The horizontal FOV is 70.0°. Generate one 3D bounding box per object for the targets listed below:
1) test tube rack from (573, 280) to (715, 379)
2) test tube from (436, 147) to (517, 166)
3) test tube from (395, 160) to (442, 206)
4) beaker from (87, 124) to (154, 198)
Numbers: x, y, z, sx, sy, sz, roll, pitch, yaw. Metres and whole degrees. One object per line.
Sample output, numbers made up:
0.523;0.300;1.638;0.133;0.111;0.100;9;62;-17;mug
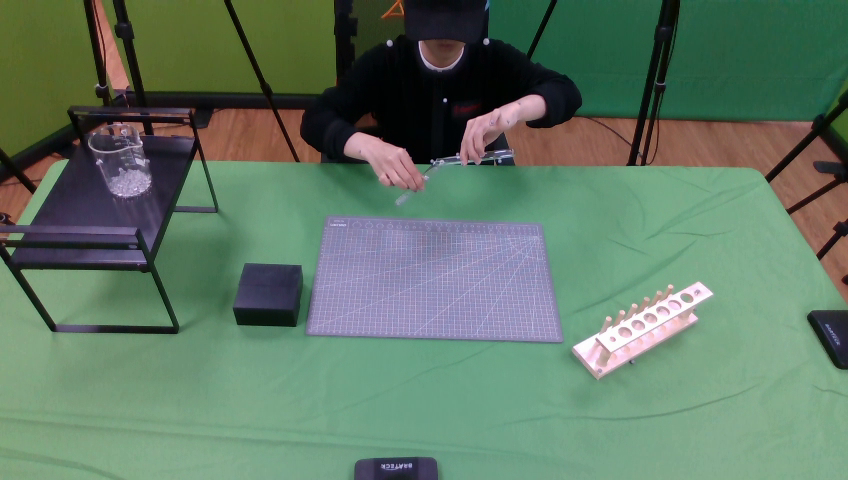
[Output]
0.378;0.140;1.038;0.242;0.085;0.066;-22;51;-23;test tube rack
0.090;-0.147;1.060;0.150;0.017;0.017;-4;41;26;test tube
-0.013;-0.106;1.146;0.017;0.150;0.017;19;53;-27;test tube
-0.482;-0.124;0.978;0.084;0.101;0.073;9;46;4;beaker
